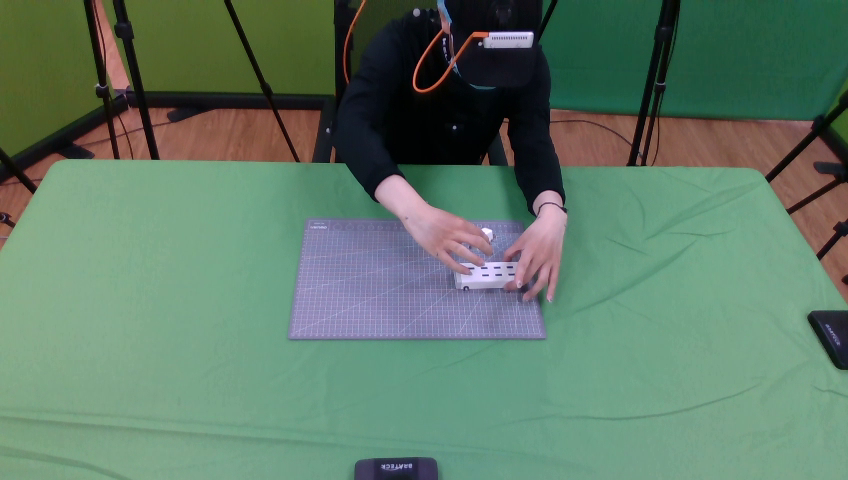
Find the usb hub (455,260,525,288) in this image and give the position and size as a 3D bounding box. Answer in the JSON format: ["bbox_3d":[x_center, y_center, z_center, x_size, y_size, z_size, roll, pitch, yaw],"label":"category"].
[{"bbox_3d":[0.123,0.064,1.134,0.125,0.025,0.049,-1,48,-5],"label":"usb hub"}]

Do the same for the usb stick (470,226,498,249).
[{"bbox_3d":[0.111,-0.008,1.103,0.059,0.027,0.021,-24,31,-35],"label":"usb stick"}]
